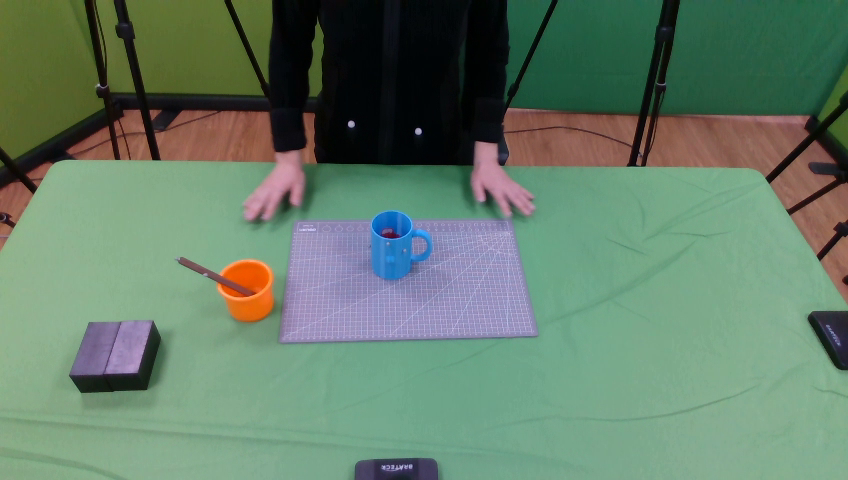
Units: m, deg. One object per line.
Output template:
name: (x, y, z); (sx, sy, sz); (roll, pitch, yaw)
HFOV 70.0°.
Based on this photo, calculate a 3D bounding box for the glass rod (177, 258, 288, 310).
glass rod: (-0.318, 0.076, 1.019); (0.200, 0.008, 0.008); (29, 41, -24)

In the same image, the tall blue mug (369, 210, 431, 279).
tall blue mug: (-0.049, 0.005, 1.125); (0.107, 0.108, 0.077); (-19, 50, -21)
